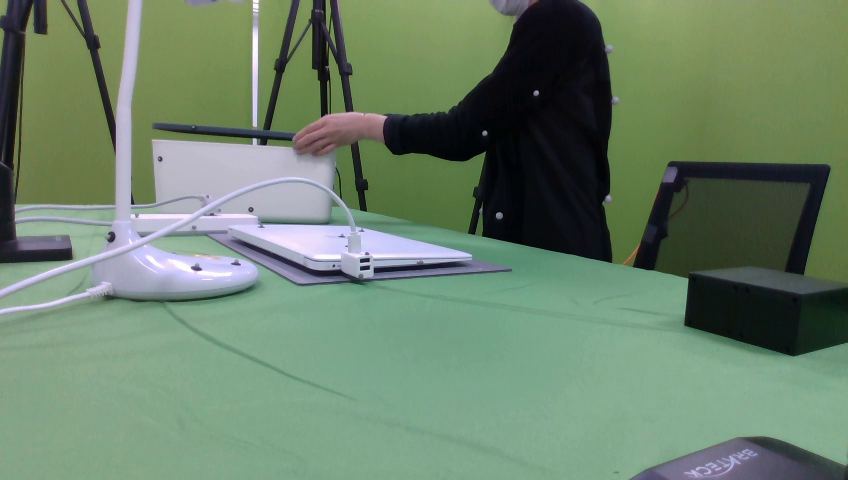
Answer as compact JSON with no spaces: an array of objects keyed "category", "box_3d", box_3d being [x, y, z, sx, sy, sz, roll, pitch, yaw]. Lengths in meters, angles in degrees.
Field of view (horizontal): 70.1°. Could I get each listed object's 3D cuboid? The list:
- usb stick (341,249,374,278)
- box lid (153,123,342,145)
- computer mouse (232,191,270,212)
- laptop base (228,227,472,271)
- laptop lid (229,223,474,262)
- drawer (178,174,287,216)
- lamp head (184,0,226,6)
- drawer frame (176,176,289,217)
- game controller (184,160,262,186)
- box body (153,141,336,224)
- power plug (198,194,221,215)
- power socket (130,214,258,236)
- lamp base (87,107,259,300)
[{"category":"usb stick","box_3d":[-0.079,0.026,0.686,0.021,0.027,0.059,-7,9,-31]},{"category":"box lid","box_3d":[-0.373,-0.230,1.333,0.372,0.015,0.263,3,6,-6]},{"category":"computer mouse","box_3d":[-0.382,-0.086,1.343,0.063,0.041,0.117,9,10,-4]},{"category":"laptop base","box_3d":[-0.124,0.011,0.889,0.237,0.023,0.352,2,6,-35]},{"category":"laptop lid","box_3d":[-0.121,0.000,0.888,0.243,0.013,0.355,1,7,-33]},{"category":"drawer","box_3d":[-0.414,-0.104,1.342,0.212,0.073,0.194,5,7,-11]},{"category":"lamp head","box_3d":[-0.229,-0.320,0.627,0.112,0.112,0.123,6,-36,26]},{"category":"drawer frame","box_3d":[-0.411,-0.100,1.337,0.214,0.082,0.201,-4,7,-10]},{"category":"game controller","box_3d":[-0.442,-0.147,1.322,0.156,0.051,0.096,0,3,-38]},{"category":"box body","box_3d":[-0.380,-0.130,1.344,0.365,0.160,0.253,1,7,-9]},{"category":"power plug","box_3d":[-0.386,-0.055,1.088,0.035,0.052,0.072,-2,7,-24]},{"category":"power socket","box_3d":[-0.397,-0.028,1.048,0.228,0.032,0.072,-3,7,-35]},{"category":"lamp base","box_3d":[-0.254,-0.039,0.603,0.160,0.180,0.179,5,10,18]}]
